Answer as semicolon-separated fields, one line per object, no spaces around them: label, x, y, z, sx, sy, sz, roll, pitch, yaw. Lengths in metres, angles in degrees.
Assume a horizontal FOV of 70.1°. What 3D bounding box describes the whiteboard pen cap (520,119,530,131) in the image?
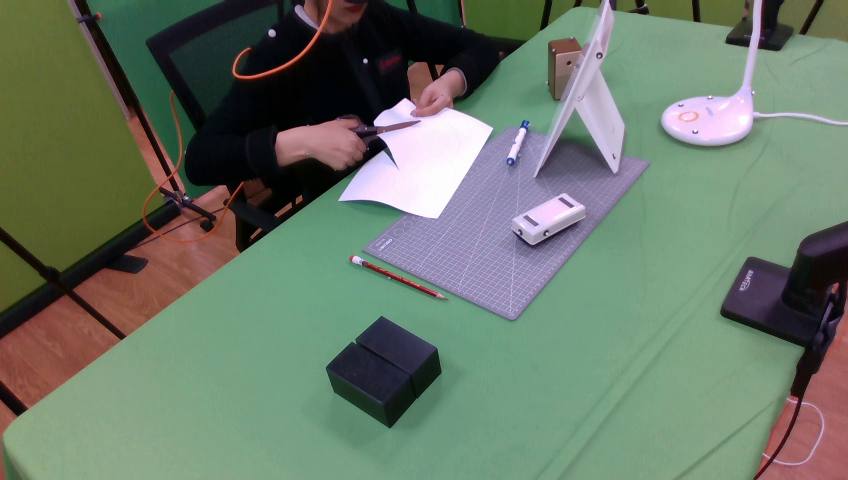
whiteboard pen cap;0.200;-0.226;1.204;0.018;0.018;0.033;7;42;18

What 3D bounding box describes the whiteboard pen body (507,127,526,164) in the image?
whiteboard pen body;0.181;-0.189;1.163;0.017;0.017;0.140;7;42;19

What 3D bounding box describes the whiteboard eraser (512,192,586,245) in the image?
whiteboard eraser;0.199;-0.032;0.962;0.113;0.042;0.055;-27;43;-20

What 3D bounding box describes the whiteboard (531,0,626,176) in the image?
whiteboard;0.320;-0.258;1.050;0.144;0.306;0.217;22;45;5

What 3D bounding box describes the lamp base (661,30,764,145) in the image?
lamp base;0.535;-0.287;1.096;0.179;0.181;0.159;-10;40;-4

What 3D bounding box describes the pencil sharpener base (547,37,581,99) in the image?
pencil sharpener base;0.299;-0.368;1.290;0.061;0.107;0.076;-8;40;2

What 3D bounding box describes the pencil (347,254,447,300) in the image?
pencil;-0.044;0.058;0.933;0.192;0.012;0.012;22;49;29

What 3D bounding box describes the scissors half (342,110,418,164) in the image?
scissors half;-0.084;-0.202;1.178;0.175;0.040;0.012;-34;17;12

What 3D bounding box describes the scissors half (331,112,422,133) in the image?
scissors half;-0.092;-0.224;1.170;0.175;0.040;0.013;3;25;-2

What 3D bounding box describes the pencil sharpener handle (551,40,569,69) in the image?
pencil sharpener handle;0.291;-0.409;1.321;0.036;0.068;0.030;2;40;-6
